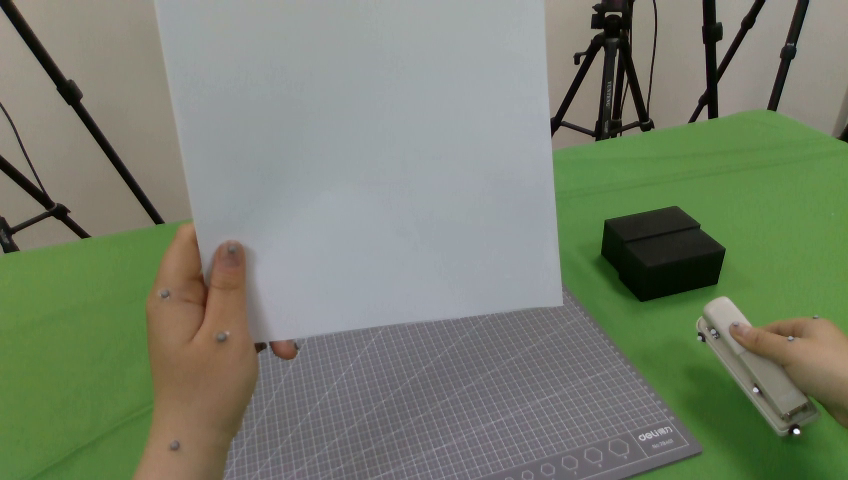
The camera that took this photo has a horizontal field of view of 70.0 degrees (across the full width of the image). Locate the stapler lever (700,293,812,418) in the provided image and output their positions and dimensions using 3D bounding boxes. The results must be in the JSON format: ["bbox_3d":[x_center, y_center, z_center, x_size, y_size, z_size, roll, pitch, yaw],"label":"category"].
[{"bbox_3d":[0.289,0.097,0.534,0.027,0.040,0.116,-36,49,10],"label":"stapler lever"}]

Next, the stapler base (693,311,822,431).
[{"bbox_3d":[0.298,0.107,0.553,0.041,0.025,0.129,-36,51,10],"label":"stapler base"}]
